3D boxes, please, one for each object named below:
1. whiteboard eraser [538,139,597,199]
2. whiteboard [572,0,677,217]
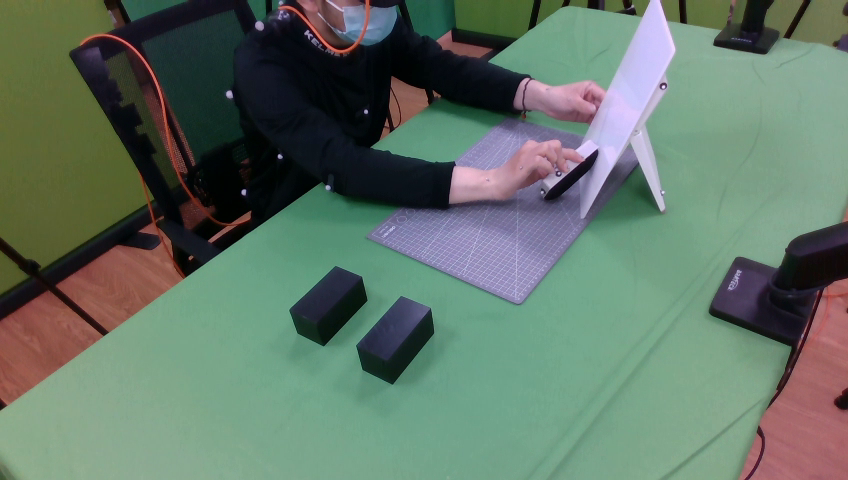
[{"bbox_3d":[0.243,-0.115,1.003,0.113,0.055,0.041,-41,80,-10],"label":"whiteboard eraser"},{"bbox_3d":[0.367,-0.189,0.963,0.144,0.305,0.216,18,43,-2],"label":"whiteboard"}]
